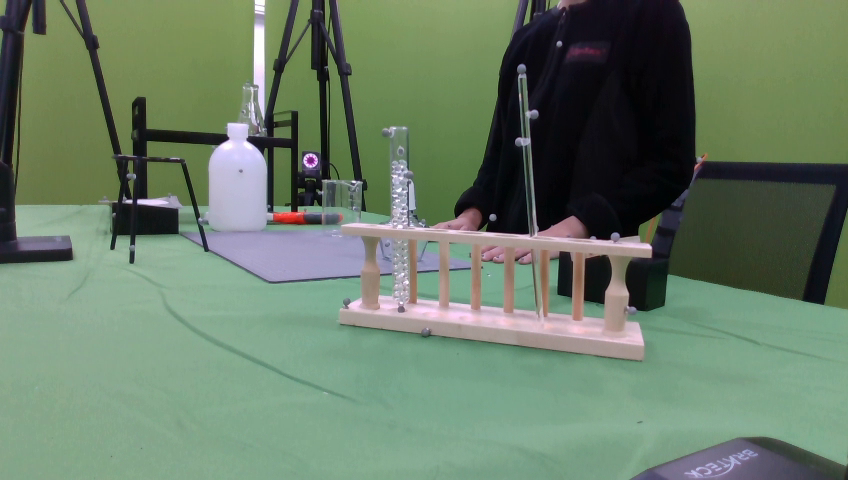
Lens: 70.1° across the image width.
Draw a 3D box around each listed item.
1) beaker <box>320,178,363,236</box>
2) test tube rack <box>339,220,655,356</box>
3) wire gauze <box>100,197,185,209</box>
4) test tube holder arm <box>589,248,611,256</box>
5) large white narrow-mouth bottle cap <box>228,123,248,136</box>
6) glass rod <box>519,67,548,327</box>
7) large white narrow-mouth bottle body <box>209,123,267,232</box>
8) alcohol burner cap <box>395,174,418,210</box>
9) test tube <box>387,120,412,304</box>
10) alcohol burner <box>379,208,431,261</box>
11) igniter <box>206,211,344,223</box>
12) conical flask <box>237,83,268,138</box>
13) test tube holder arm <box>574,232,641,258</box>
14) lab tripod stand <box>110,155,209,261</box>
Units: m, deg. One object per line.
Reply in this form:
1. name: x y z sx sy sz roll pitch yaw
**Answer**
1. beaker: -0.145 -0.059 1.079 0.074 0.100 0.083 -4 10 -36
2. test tube rack: 0.056 0.032 0.495 0.242 0.085 0.067 4 7 15
3. wire gauze: -0.469 -0.062 1.008 0.126 0.011 0.121 -2 8 -25
4. test tube holder arm: 0.180 0.006 0.611 0.010 0.015 0.088 -3 2 36
5. large white narrow-mouth bottle cap: -0.338 -0.199 1.097 0.038 0.024 0.037 2 8 0
6. glass rod: 0.084 -0.029 0.459 0.008 0.199 0.008 -7 11 2
7. large white narrow-mouth bottle body: -0.340 -0.115 1.109 0.102 0.194 0.102 2 8 0
8. alcohol burner cap: -0.026 -0.067 0.834 0.034 0.048 0.034 -1 12 1
9. test tube: -0.019 -0.021 0.488 0.017 0.150 0.017 -1 13 1
10. alcohol burner: -0.027 -0.031 0.838 0.078 0.119 0.078 0 6 0
11. igniter: -0.302 -0.048 1.249 0.278 0.025 0.057 -2 -2 -26
12. conical flask: -0.401 -0.299 1.406 0.075 0.122 0.075 2 7 0
13. test tube holder arm: 0.202 0.003 0.651 0.013 0.015 0.179 -3 2 36
14. lab tripod stand: -0.361 -0.046 0.806 0.148 0.131 0.148 2 5 0
